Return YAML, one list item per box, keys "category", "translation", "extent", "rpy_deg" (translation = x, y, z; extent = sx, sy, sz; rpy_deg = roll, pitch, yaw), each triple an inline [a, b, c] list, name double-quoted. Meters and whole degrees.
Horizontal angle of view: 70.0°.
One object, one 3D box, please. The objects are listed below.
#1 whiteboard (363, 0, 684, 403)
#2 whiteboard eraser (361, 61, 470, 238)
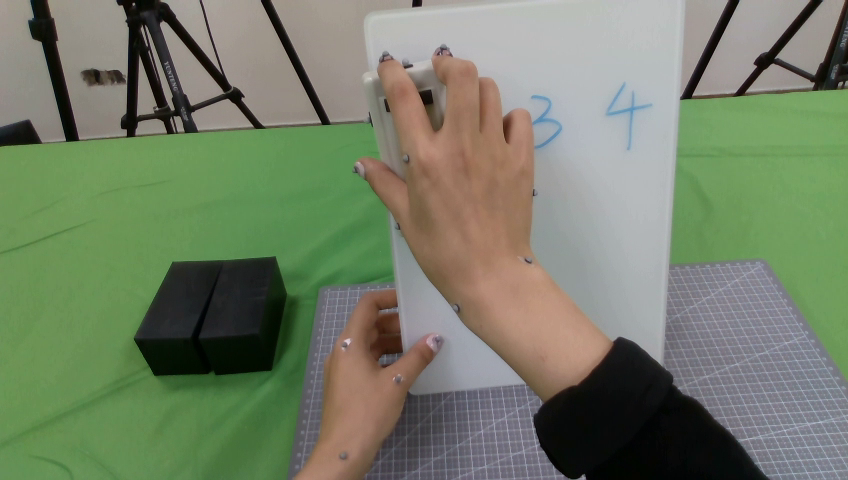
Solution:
- category: "whiteboard"
  translation: [0.078, -0.040, 0.516]
  extent: [0.217, 0.307, 0.143]
  rpy_deg: [-5, 20, 0]
- category: "whiteboard eraser"
  translation: [-0.004, -0.060, 0.413]
  extent: [0.055, 0.113, 0.041]
  rpy_deg: [-12, 20, -1]
